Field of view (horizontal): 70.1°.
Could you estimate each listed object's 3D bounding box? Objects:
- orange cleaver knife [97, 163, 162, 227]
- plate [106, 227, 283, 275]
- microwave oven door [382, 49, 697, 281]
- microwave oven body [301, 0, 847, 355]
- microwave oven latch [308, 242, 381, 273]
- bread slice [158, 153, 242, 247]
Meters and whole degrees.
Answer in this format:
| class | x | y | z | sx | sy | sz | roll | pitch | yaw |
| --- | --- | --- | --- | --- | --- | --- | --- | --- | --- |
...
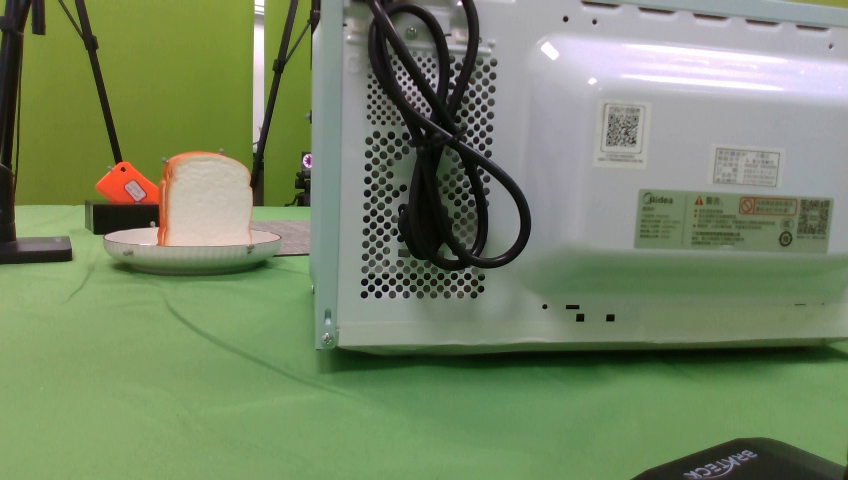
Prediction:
| class | x | y | z | sx | sy | sz | roll | pitch | yaw |
| --- | --- | --- | --- | --- | --- | --- | --- | --- | --- |
| orange cleaver knife | -0.472 | -0.062 | 1.087 | 0.212 | 0.077 | 0.012 | 34 | -14 | -36 |
| plate | -0.288 | 0.013 | 0.772 | 0.208 | 0.039 | 0.207 | 2 | 7 | 0 |
| microwave oven door | 0.135 | -0.077 | 0.685 | 0.357 | 0.243 | 0.039 | 1 | 8 | -12 |
| microwave oven body | 0.120 | -0.053 | 0.535 | 0.443 | 0.260 | 0.325 | 2 | 7 | -11 |
| microwave oven latch | -0.086 | 0.019 | 0.656 | 0.079 | 0.029 | 0.030 | 2 | 7 | -11 |
| bread slice | -0.287 | -0.045 | 0.788 | 0.107 | 0.134 | 0.018 | 2 | 8 | -35 |
